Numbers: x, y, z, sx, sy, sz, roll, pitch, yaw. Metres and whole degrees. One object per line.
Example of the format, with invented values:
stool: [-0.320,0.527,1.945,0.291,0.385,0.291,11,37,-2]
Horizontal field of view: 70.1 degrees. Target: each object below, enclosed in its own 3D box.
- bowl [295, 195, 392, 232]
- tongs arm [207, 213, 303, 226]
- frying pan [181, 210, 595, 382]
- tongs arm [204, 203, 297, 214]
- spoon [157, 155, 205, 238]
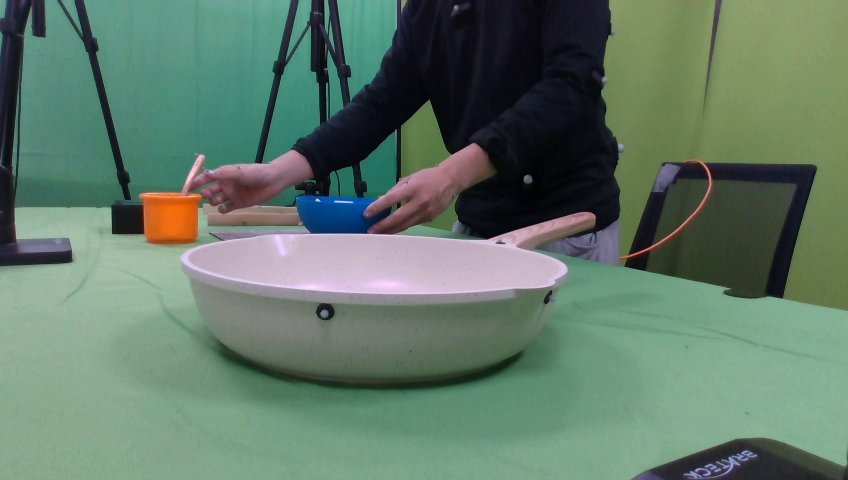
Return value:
bowl: [-0.127,-0.028,0.946,0.151,0.077,0.151,2,7,0]
tongs arm: [-0.264,-0.046,1.297,0.390,0.028,0.028,-2,7,-32]
frying pan: [0.034,0.019,0.557,0.305,0.102,0.490,10,19,42]
tongs arm: [-0.295,-0.062,1.370,0.386,0.026,0.050,1,9,-19]
spoon: [-0.392,-0.076,0.998,0.041,0.193,0.021,1,-36,6]
